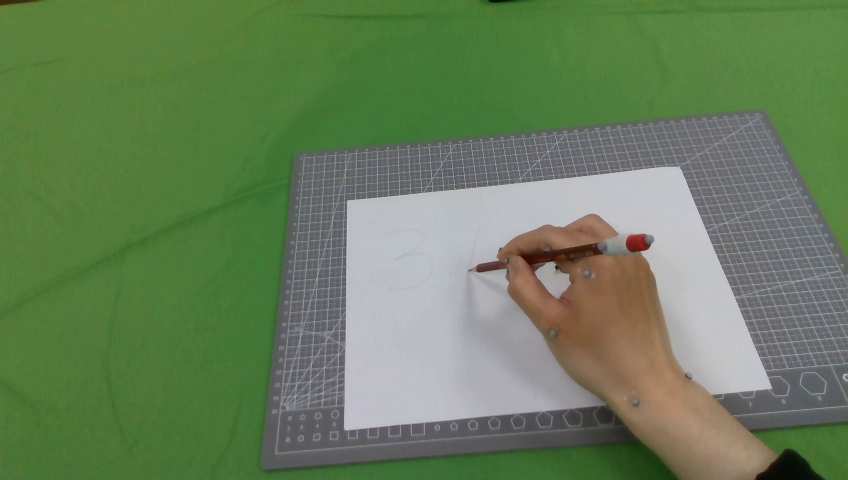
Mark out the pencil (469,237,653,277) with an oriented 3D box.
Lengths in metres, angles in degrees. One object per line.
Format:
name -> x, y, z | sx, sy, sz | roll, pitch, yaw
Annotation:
pencil -> 0.077, 0.015, 0.401 | 0.012, 0.193, 0.012 | 3, 81, -24
